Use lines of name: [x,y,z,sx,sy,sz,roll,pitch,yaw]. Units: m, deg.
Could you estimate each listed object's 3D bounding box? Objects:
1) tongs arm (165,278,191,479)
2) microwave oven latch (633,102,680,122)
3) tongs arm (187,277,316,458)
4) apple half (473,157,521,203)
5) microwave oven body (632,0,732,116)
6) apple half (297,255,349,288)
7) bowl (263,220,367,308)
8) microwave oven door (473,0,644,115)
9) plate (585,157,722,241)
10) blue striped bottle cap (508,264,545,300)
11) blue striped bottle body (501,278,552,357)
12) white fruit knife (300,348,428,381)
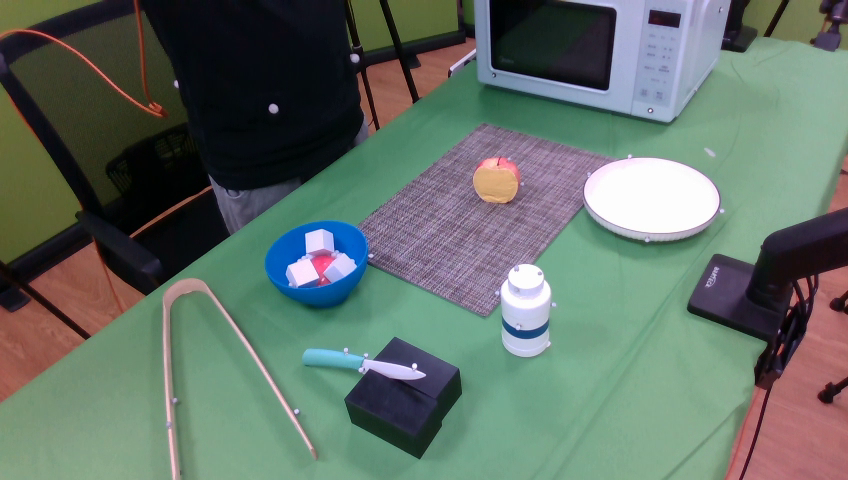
tongs arm: [-0.313,0.181,0.789,0.051,0.026,0.381,-19,41,-14]
microwave oven latch: [0.444,-0.250,1.157,0.078,0.029,0.030,21,49,30]
tongs arm: [-0.241,0.154,0.815,0.028,0.028,0.384,-32,45,-21]
apple half: [0.128,-0.107,1.030,0.080,0.075,0.053,4,37,19]
microwave oven body: [0.377,-0.462,1.267,0.438,0.261,0.327,21,48,30]
apple half: [-0.154,0.043,0.889,0.081,0.033,0.081,-3,40,3]
bowl: [-0.152,0.047,0.891,0.151,0.077,0.150,-4,40,3]
microwave oven door: [0.257,-0.396,1.199,0.353,0.245,0.039,21,48,29]
plate: [0.367,-0.063,0.979,0.207,0.039,0.206,-4,40,4]
blue striped bottle cap: [0.125,0.051,0.735,0.044,0.021,0.044,-5,39,5]
blue striped bottle body: [0.130,0.088,0.769,0.063,0.121,0.063,-4,40,4]
white fruit knife: [-0.079,0.154,0.748,0.206,0.027,0.016,1,20,34]
